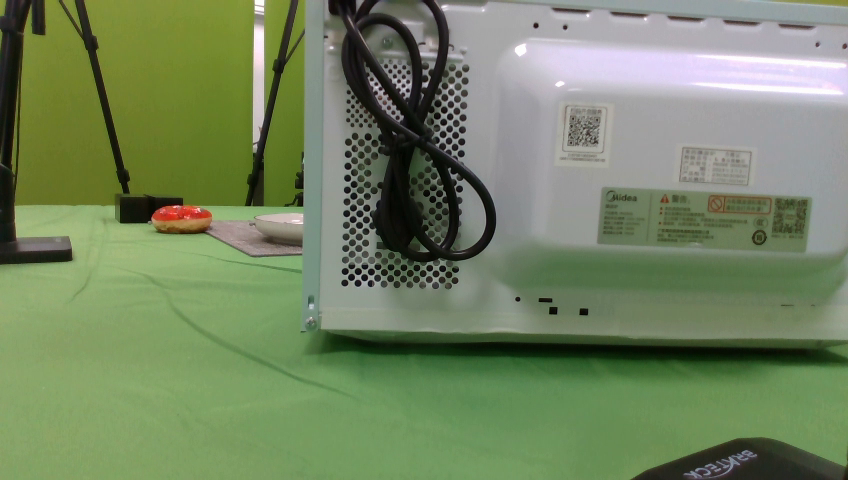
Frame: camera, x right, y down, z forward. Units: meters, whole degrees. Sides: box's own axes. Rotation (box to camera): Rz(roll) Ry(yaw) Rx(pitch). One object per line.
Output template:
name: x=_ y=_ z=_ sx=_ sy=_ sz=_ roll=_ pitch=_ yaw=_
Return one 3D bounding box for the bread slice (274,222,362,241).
bread slice: x=-0.181 y=-0.016 z=1.011 sx=0.104 sy=0.019 sz=0.132 roll=5 pitch=8 yaw=27

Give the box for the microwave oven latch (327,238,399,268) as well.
microwave oven latch: x=-0.069 y=0.015 z=0.694 sx=0.079 sy=0.029 sz=0.030 roll=3 pitch=7 yaw=-3

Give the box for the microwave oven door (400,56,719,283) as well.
microwave oven door: x=0.155 y=-0.078 z=0.697 sx=0.356 sy=0.243 sz=0.039 roll=2 pitch=8 yaw=-5

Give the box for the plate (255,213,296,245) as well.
plate: x=-0.177 y=-0.017 z=1.017 sx=0.208 sy=0.039 sz=0.207 roll=2 pitch=7 yaw=0

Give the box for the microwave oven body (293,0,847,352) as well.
microwave oven body: x=0.122 y=-0.055 z=0.550 sx=0.442 sy=0.260 sz=0.325 roll=3 pitch=7 yaw=-5

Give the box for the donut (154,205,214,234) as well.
donut: x=-0.426 y=-0.037 z=1.075 sx=0.099 sy=0.048 sz=0.099 roll=2 pitch=12 yaw=0
